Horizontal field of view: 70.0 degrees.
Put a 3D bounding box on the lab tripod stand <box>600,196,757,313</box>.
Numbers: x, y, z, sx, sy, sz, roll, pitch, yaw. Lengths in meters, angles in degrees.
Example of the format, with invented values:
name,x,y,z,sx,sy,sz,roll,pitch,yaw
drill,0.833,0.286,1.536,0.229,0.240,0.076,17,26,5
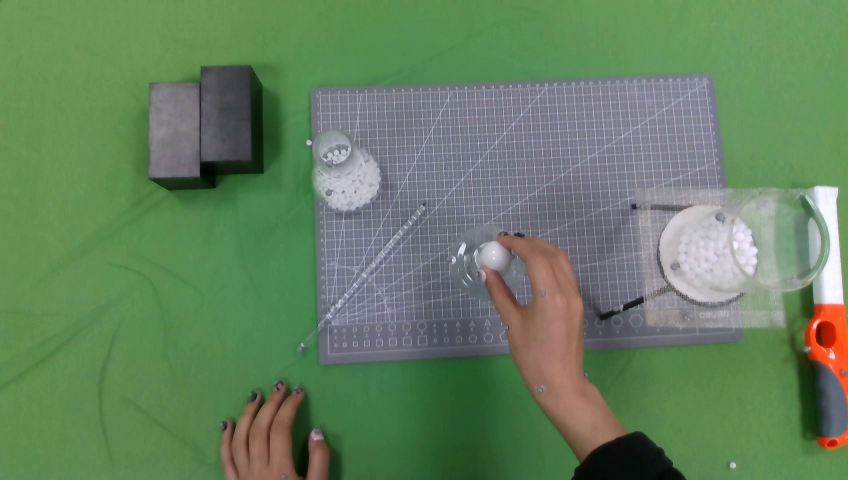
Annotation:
name,x,y,z,sx,sy,sz,roll,pitch,yaw
lab tripod stand,0.242,0.019,0.588,0.148,0.131,0.148,0,85,-2

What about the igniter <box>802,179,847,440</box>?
name,x,y,z,sx,sy,sz,roll,pitch,yaw
igniter,0.428,0.071,0.646,0.057,0.025,0.275,3,83,-13

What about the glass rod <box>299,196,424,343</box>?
name,x,y,z,sx,sy,sz,roll,pitch,yaw
glass rod,-0.064,0.029,0.636,0.008,0.008,0.199,40,83,3

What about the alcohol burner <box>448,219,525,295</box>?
name,x,y,z,sx,sy,sz,roll,pitch,yaw
alcohol burner,0.063,0.015,0.591,0.078,0.119,0.077,0,83,0

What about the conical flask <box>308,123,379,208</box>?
name,x,y,z,sx,sy,sz,roll,pitch,yaw
conical flask,-0.084,-0.078,0.592,0.075,0.122,0.075,0,82,-2

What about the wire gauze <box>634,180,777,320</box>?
name,x,y,z,sx,sy,sz,roll,pitch,yaw
wire gauze,0.245,0.008,0.523,0.125,0.011,0.121,0,86,-4

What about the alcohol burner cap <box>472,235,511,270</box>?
name,x,y,z,sx,sy,sz,roll,pitch,yaw
alcohol burner cap,0.064,0.009,0.556,0.034,0.048,0.034,1,83,-5

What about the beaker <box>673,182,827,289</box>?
name,x,y,z,sx,sy,sz,roll,pitch,yaw
beaker,0.249,-0.002,0.476,0.074,0.100,0.084,33,84,1
